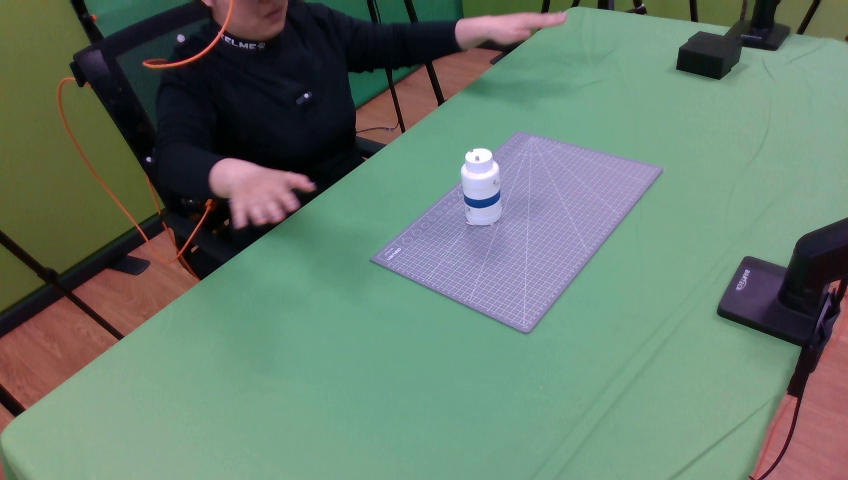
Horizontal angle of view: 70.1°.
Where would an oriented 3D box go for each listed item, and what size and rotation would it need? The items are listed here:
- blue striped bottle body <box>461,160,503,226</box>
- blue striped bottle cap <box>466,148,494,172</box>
[{"bbox_3d":[0.094,-0.088,0.987,0.063,0.121,0.063,-6,40,5],"label":"blue striped bottle body"},{"bbox_3d":[0.088,-0.127,0.955,0.044,0.021,0.044,-6,41,6],"label":"blue striped bottle cap"}]
